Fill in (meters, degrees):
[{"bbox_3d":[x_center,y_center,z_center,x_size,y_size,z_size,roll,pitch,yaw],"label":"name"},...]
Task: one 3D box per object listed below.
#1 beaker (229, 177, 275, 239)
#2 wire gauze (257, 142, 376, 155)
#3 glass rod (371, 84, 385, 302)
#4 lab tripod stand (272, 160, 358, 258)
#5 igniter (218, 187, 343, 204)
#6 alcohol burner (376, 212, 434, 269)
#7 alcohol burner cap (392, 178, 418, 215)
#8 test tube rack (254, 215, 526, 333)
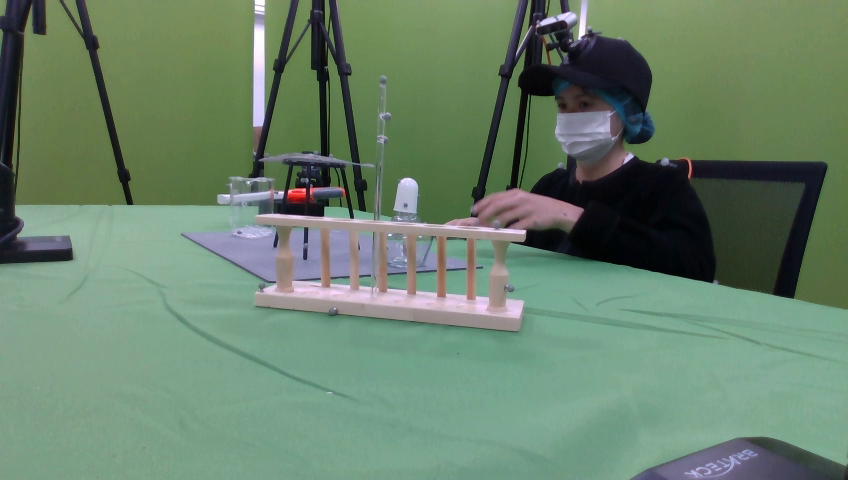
[{"bbox_3d":[-0.292,-0.056,1.023,0.074,0.100,0.083,-1,8,-26],"label":"beaker"},{"bbox_3d":[-0.155,-0.130,0.871,0.124,0.011,0.122,-1,7,36],"label":"wire gauze"},{"bbox_3d":[-0.041,-0.041,0.548,0.008,0.199,0.008,2,2,0],"label":"glass rod"},{"bbox_3d":[-0.159,-0.048,0.876,0.148,0.131,0.148,3,5,0],"label":"lab tripod stand"},{"bbox_3d":[-0.287,-0.093,1.257,0.278,0.025,0.057,-8,12,-41],"label":"igniter"},{"bbox_3d":[-0.025,-0.022,0.800,0.078,0.119,0.078,1,6,0],"label":"alcohol burner"},{"bbox_3d":[-0.023,-0.057,0.795,0.034,0.048,0.034,6,6,0],"label":"alcohol burner cap"},{"bbox_3d":[-0.030,0.025,0.558,0.242,0.085,0.067,4,7,12],"label":"test tube rack"}]
